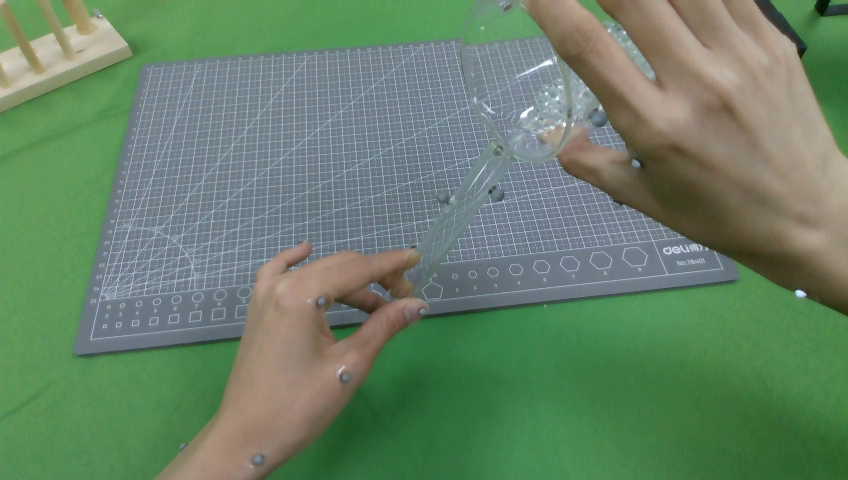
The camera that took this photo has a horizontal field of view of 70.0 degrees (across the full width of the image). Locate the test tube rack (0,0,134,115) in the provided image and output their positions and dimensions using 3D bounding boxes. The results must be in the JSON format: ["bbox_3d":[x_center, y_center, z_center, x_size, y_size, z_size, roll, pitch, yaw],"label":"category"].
[{"bbox_3d":[-0.390,-0.156,0.514,0.242,0.086,0.066,-33,60,-22],"label":"test tube rack"}]

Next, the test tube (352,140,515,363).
[{"bbox_3d":[0.001,0.012,0.325,0.017,0.150,0.017,29,23,-13],"label":"test tube"}]

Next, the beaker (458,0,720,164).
[{"bbox_3d":[0.077,-0.087,0.282,0.100,0.084,0.073,-28,62,-20],"label":"beaker"}]
